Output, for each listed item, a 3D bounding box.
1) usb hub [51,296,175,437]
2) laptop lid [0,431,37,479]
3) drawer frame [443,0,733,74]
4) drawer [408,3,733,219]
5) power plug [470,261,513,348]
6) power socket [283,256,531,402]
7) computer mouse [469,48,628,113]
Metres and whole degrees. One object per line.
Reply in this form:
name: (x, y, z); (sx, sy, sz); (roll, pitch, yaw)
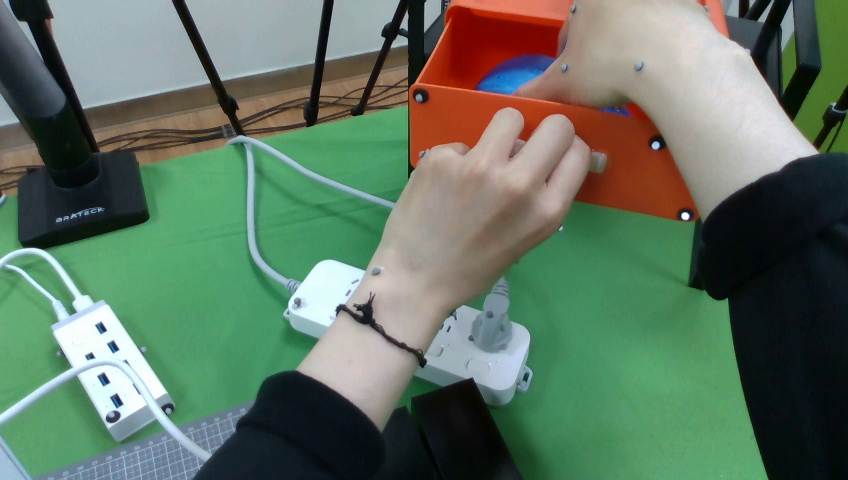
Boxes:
usb hub: (-0.259, 0.100, 0.499); (0.049, 0.025, 0.124); (-32, 55, -28)
laptop lid: (-0.410, 0.150, 0.288); (0.357, 0.244, 0.013); (-20, 37, -18)
drawer frame: (0.134, -0.199, 0.512); (0.201, 0.083, 0.212); (10, 48, 8)
drawer: (0.110, -0.126, 0.447); (0.194, 0.074, 0.210); (12, 49, 10)
power plug: (0.066, 0.062, 0.514); (0.035, 0.053, 0.072); (27, 53, 23)
power socket: (-0.015, 0.074, 0.530); (0.226, 0.033, 0.072); (18, 47, 15)
computer mouse: (0.093, -0.103, 0.443); (0.116, 0.041, 0.062); (35, 54, 19)
